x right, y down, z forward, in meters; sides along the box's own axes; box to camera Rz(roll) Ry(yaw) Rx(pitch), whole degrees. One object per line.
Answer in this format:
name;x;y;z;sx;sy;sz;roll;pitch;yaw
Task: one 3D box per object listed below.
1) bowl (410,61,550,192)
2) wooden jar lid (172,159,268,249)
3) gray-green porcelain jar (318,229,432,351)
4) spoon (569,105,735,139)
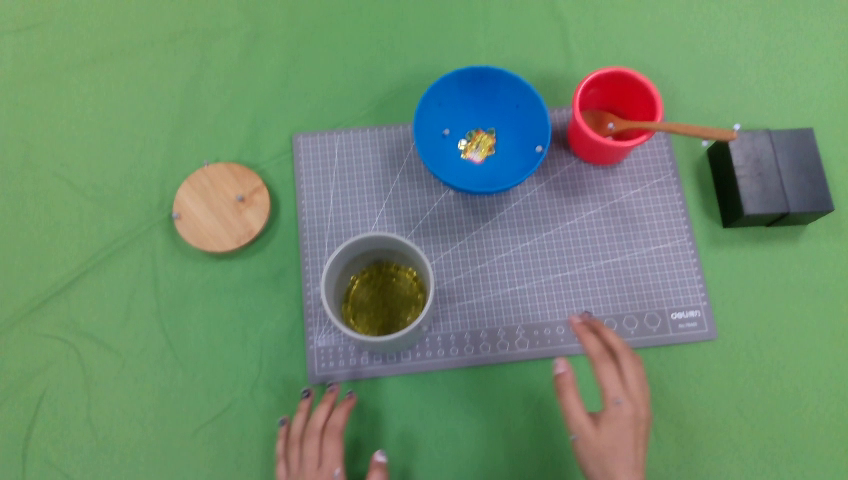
bowl;0.061;-0.116;0.685;0.151;0.077;0.150;0;75;0
wooden jar lid;-0.232;-0.040;0.696;0.108;0.021;0.108;0;75;0
gray-green porcelain jar;-0.045;0.056;0.613;0.106;0.127;0.105;0;75;0
spoon;0.237;-0.124;0.654;0.022;0.192;0.041;39;78;-37
